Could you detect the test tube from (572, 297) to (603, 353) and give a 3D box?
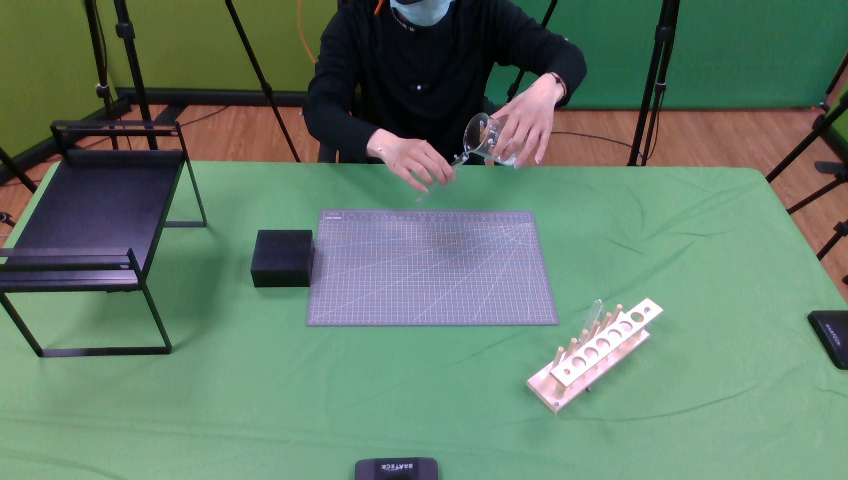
[{"bbox_3d":[0.263,0.141,0.977,0.017,0.151,0.017,2,47,-2],"label":"test tube"}]

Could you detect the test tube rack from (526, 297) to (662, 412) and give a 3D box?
[{"bbox_3d":[0.284,0.176,1.007,0.242,0.085,0.066,-29,54,-27],"label":"test tube rack"}]

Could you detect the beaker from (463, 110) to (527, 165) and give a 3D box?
[{"bbox_3d":[0.132,-0.183,1.119,0.101,0.084,0.073,16,29,-31],"label":"beaker"}]

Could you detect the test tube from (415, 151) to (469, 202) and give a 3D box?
[{"bbox_3d":[0.032,-0.119,1.156,0.017,0.150,0.017,28,41,-27],"label":"test tube"}]
